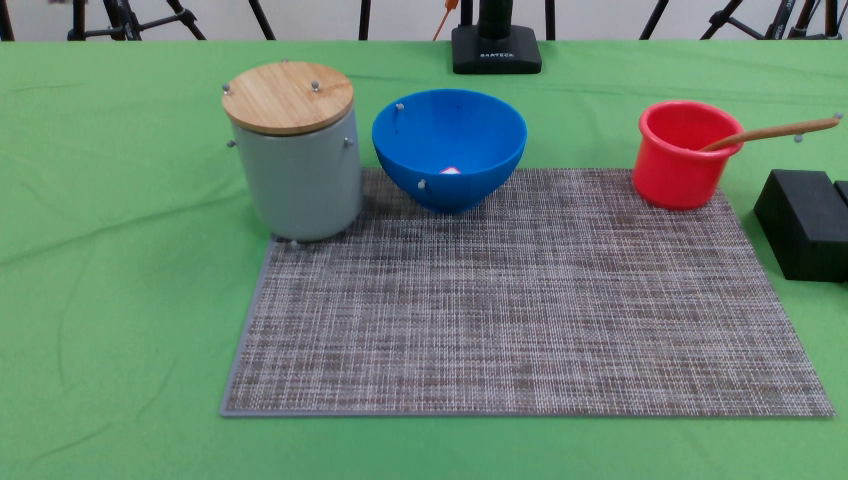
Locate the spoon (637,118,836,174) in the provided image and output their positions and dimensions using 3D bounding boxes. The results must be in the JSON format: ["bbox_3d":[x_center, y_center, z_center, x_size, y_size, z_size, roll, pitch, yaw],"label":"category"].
[{"bbox_3d":[0.280,-0.087,0.567,0.041,0.193,0.022,-32,98,-27],"label":"spoon"}]

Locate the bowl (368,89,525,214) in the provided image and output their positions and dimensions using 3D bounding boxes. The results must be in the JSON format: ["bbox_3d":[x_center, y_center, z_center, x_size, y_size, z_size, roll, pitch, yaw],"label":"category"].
[{"bbox_3d":[0.021,-0.079,0.606,0.151,0.077,0.150,0,44,0],"label":"bowl"}]

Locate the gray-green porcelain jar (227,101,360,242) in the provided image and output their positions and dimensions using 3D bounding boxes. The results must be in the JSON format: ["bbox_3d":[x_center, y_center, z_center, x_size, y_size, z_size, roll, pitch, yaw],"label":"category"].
[{"bbox_3d":[-0.115,-0.070,0.561,0.106,0.127,0.105,0,44,0],"label":"gray-green porcelain jar"}]

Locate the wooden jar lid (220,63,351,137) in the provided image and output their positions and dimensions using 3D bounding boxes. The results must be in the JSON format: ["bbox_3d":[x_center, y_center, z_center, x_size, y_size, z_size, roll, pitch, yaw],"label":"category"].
[{"bbox_3d":[-0.116,-0.117,0.516,0.108,0.021,0.107,1,43,0],"label":"wooden jar lid"}]
